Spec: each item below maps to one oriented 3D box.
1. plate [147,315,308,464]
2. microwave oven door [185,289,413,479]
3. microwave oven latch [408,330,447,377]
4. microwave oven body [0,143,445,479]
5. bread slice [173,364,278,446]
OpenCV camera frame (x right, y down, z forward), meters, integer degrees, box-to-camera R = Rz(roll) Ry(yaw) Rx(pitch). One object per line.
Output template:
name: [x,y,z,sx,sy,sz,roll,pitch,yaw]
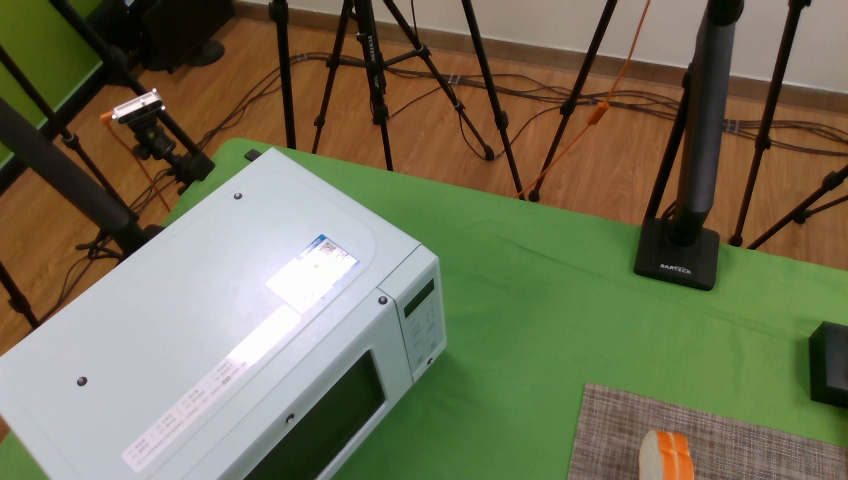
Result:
plate: [-0.258,0.199,0.814,0.208,0.039,0.205,0,53,0]
microwave oven door: [-0.151,0.240,0.701,0.039,0.246,0.355,32,63,25]
microwave oven latch: [0.000,0.158,0.873,0.030,0.030,0.079,34,65,25]
microwave oven body: [-0.235,0.145,0.783,0.323,0.262,0.441,33,64,24]
bread slice: [-0.260,0.224,0.804,0.134,0.018,0.106,-6,53,-12]
